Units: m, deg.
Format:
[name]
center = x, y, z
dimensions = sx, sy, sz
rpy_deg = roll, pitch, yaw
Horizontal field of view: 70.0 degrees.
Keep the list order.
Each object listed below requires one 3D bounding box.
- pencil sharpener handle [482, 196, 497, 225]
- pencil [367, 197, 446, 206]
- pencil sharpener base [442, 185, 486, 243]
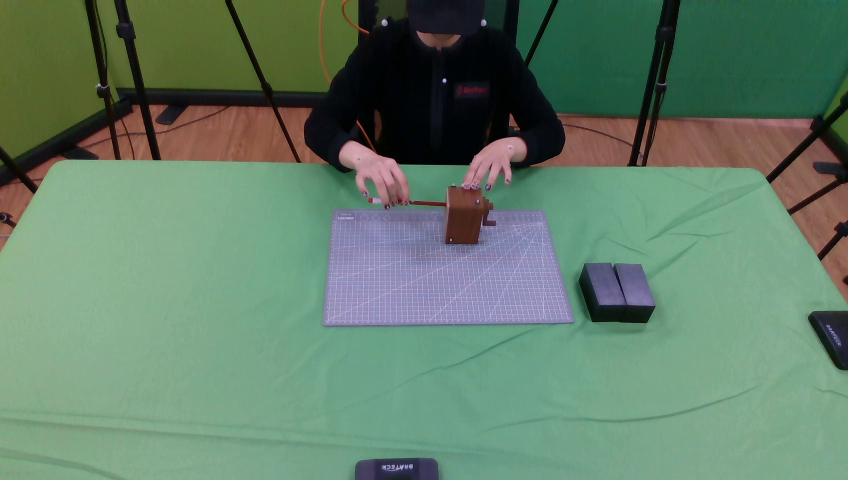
[pencil sharpener handle]
center = 0.130, -0.056, 1.182
dimensions = 0.031, 0.068, 0.036
rpy_deg = 1, 43, -3
[pencil]
center = -0.013, -0.072, 1.167
dimensions = 0.194, 0.012, 0.012
rpy_deg = 4, 46, -1
[pencil sharpener base]
center = 0.078, -0.049, 1.188
dimensions = 0.077, 0.107, 0.061
rpy_deg = 1, 46, -3
